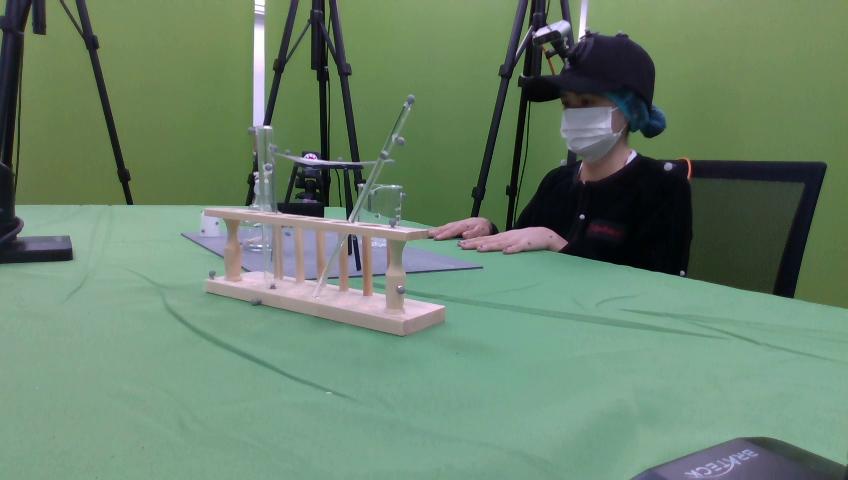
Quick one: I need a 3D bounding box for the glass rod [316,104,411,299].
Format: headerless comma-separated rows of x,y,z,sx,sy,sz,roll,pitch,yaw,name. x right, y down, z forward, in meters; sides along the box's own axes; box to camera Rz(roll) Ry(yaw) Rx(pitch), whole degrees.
-0.054,-0.026,0.516,0.008,0.199,0.008,23,24,-11,glass rod

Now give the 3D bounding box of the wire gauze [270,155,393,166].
-0.121,-0.102,0.785,0.122,0.011,0.124,-3,10,-39,wire gauze

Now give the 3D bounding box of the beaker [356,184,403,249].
-0.074,-0.039,0.975,0.074,0.100,0.084,4,8,12,beaker

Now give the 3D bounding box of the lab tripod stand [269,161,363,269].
-0.125,-0.036,0.794,0.148,0.131,0.148,5,7,0,lab tripod stand

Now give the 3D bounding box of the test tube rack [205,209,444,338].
-0.100,0.021,0.565,0.241,0.085,0.067,7,9,32,test tube rack

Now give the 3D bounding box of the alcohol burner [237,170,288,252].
-0.236,-0.042,0.882,0.078,0.119,0.078,2,9,0,alcohol burner

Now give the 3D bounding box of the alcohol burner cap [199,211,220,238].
-0.355,-0.027,1.002,0.034,0.048,0.034,2,7,0,alcohol burner cap

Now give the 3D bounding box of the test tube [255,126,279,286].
-0.147,-0.031,0.566,0.017,0.150,0.017,-1,8,0,test tube
